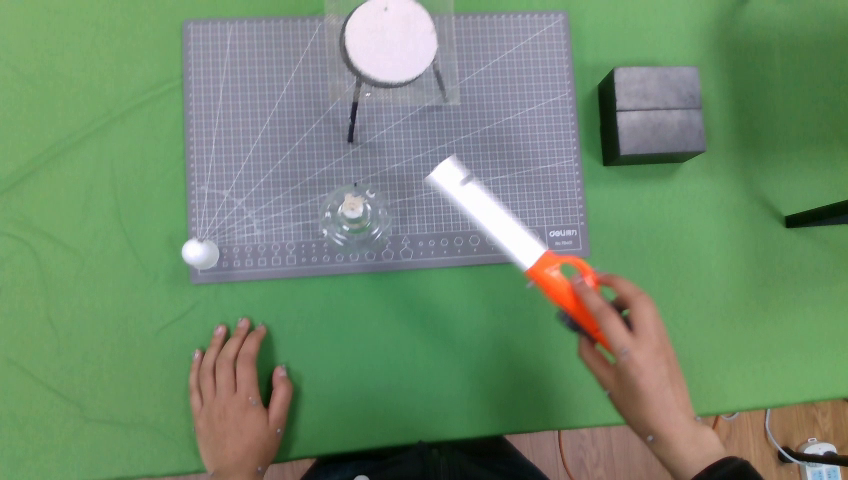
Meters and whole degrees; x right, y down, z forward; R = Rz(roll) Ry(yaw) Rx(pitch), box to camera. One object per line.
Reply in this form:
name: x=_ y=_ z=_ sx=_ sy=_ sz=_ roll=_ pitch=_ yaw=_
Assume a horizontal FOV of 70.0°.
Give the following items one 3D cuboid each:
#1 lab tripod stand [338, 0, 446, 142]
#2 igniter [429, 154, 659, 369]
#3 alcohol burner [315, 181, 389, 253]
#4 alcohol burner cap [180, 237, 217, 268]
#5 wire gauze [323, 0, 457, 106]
lab tripod stand: x=-0.044 y=-0.182 z=0.637 sx=0.148 sy=0.131 sz=0.148 roll=0 pitch=83 yaw=-3
igniter: x=0.114 y=0.025 z=0.570 sx=0.276 sy=0.025 sz=0.057 roll=44 pitch=80 yaw=-2
alcohol burner: x=-0.075 y=-0.026 z=0.627 sx=0.078 sy=0.119 sz=0.077 roll=0 pitch=84 yaw=-4
alcohol burner cap: x=-0.242 y=0.011 z=0.642 sx=0.034 sy=0.048 sz=0.033 roll=1 pitch=81 yaw=-6
wire gauze: x=-0.032 y=-0.186 z=0.571 sx=0.125 sy=0.011 sz=0.121 roll=-1 pitch=83 yaw=-5
